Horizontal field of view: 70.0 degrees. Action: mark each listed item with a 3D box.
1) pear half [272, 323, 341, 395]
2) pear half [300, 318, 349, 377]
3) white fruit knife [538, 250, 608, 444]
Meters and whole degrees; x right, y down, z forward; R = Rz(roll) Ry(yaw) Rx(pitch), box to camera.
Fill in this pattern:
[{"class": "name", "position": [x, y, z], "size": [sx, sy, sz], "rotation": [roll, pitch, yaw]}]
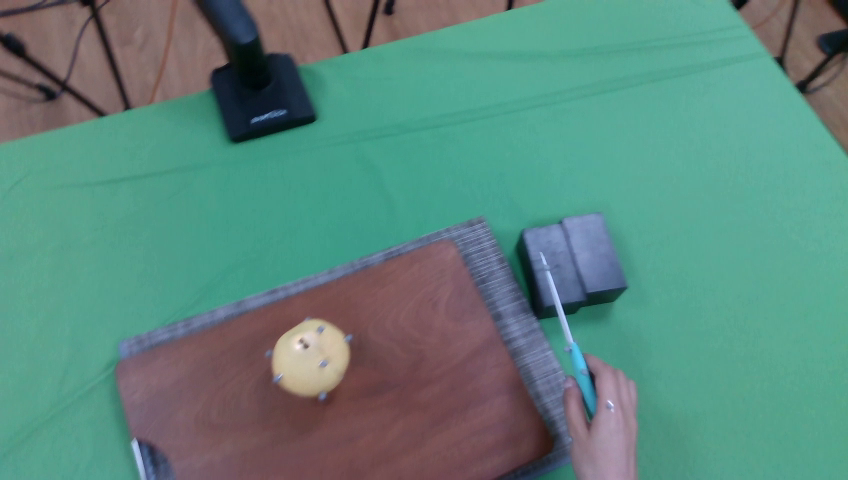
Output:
[{"class": "pear half", "position": [-0.124, 0.121, 0.606], "size": [0.056, 0.110, 0.076], "rotation": [-41, 70, -18]}, {"class": "pear half", "position": [-0.099, 0.104, 0.626], "size": [0.031, 0.088, 0.070], "rotation": [-42, 69, -19]}, {"class": "white fruit knife", "position": [0.145, 0.108, 0.600], "size": [0.016, 0.027, 0.207], "rotation": [-19, 94, -4]}]
